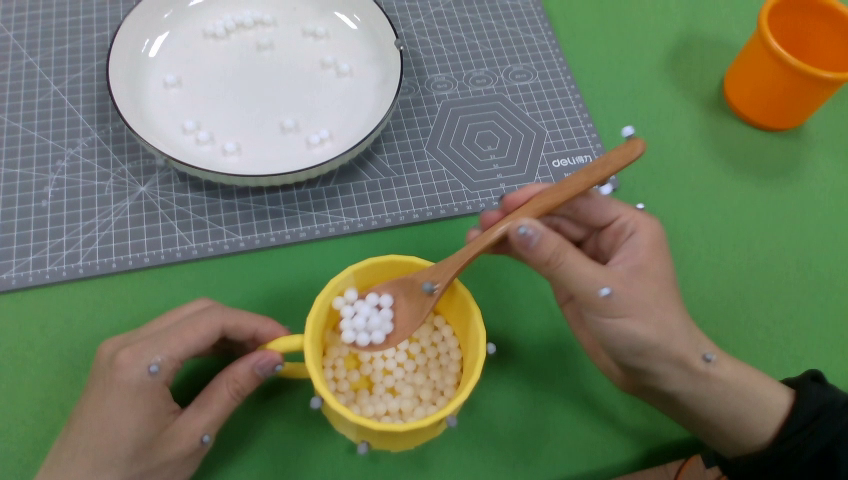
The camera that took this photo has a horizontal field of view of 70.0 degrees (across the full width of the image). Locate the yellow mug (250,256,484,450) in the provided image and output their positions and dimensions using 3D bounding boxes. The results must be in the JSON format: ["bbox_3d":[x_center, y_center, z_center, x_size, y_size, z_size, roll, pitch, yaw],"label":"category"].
[{"bbox_3d":[-0.034,0.068,0.353,0.131,0.064,0.099,-2,63,-7],"label":"yellow mug"}]

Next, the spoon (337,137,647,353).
[{"bbox_3d":[0.035,0.002,0.325,0.194,0.022,0.041,-35,55,10],"label":"spoon"}]

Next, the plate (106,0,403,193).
[{"bbox_3d":[-0.119,-0.119,0.451,0.208,0.039,0.206,3,63,-5],"label":"plate"}]
